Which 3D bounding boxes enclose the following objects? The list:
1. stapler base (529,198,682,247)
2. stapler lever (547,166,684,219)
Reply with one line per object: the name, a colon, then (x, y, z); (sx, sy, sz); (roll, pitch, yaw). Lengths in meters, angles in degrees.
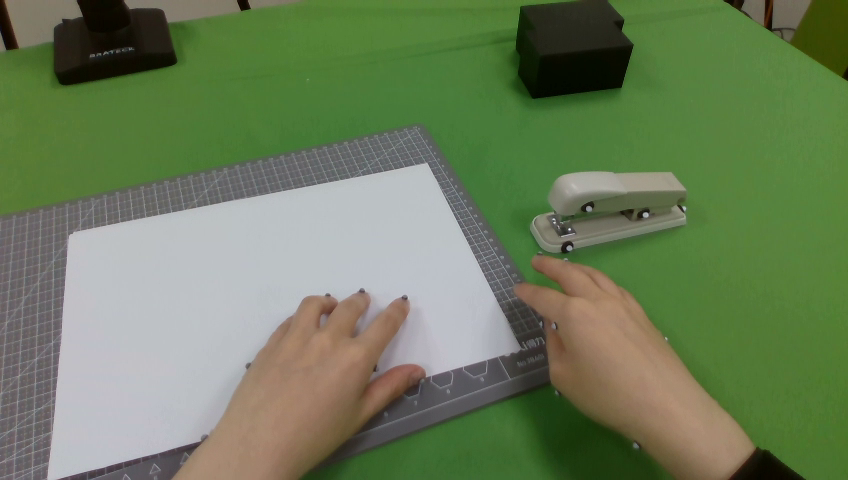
stapler base: (0.152, -0.026, 0.500); (0.131, 0.024, 0.041); (-12, 52, -14)
stapler lever: (0.154, -0.043, 0.483); (0.118, 0.040, 0.026); (-12, 52, -14)
